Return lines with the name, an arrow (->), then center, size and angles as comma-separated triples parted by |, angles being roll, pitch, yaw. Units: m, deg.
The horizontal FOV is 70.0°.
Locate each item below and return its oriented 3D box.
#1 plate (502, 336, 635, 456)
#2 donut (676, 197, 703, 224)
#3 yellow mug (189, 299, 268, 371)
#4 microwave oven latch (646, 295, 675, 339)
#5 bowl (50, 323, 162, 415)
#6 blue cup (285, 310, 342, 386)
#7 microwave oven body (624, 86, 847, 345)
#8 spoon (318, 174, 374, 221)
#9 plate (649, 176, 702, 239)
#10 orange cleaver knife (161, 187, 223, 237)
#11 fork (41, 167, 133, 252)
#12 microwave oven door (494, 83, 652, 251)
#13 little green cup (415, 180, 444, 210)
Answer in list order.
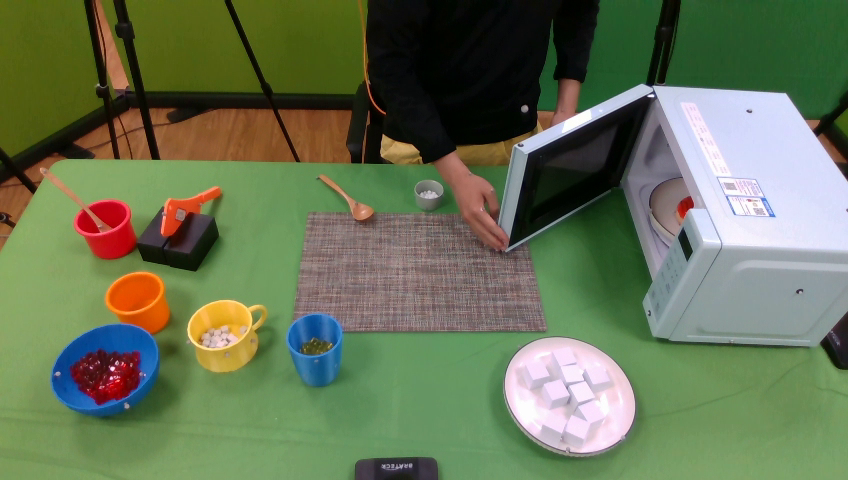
plate -> 0.225, 0.248, 0.963 | 0.208, 0.039, 0.206 | 2, 46, -2
donut -> 0.537, -0.045, 1.169 | 0.099, 0.048, 0.098 | 9, 37, -7
yellow mug -> -0.316, 0.148, 1.002 | 0.131, 0.064, 0.099 | -32, 56, -31
microwave oven latch -> 0.412, 0.134, 1.061 | 0.030, 0.029, 0.078 | 4, 45, 1
bowl -> -0.472, 0.209, 0.924 | 0.151, 0.077, 0.150 | 2, 45, -2
blue cup -> -0.170, 0.179, 0.958 | 0.093, 0.101, 0.092 | 2, 44, -1
microwave oven body -> 0.568, -0.053, 1.118 | 0.326, 0.261, 0.439 | 2, 45, -1
spoon -> -0.168, -0.094, 1.274 | 0.041, 0.022, 0.192 | -38, 56, -15
plate -> 0.543, -0.045, 1.179 | 0.209, 0.038, 0.208 | 1, 45, -1
orange cleaver knife -> -0.448, -0.058, 1.181 | 0.012, 0.077, 0.211 | 13, 17, 6
fork -> -0.624, -0.056, 1.121 | 0.208, 0.018, 0.028 | 49, 51, -15
microwave oven door -> 0.293, -0.145, 1.181 | 0.356, 0.245, 0.039 | -28, 54, -27
little green cup -> 0.011, -0.094, 1.278 | 0.061, 0.039, 0.061 | 2, 49, -2
